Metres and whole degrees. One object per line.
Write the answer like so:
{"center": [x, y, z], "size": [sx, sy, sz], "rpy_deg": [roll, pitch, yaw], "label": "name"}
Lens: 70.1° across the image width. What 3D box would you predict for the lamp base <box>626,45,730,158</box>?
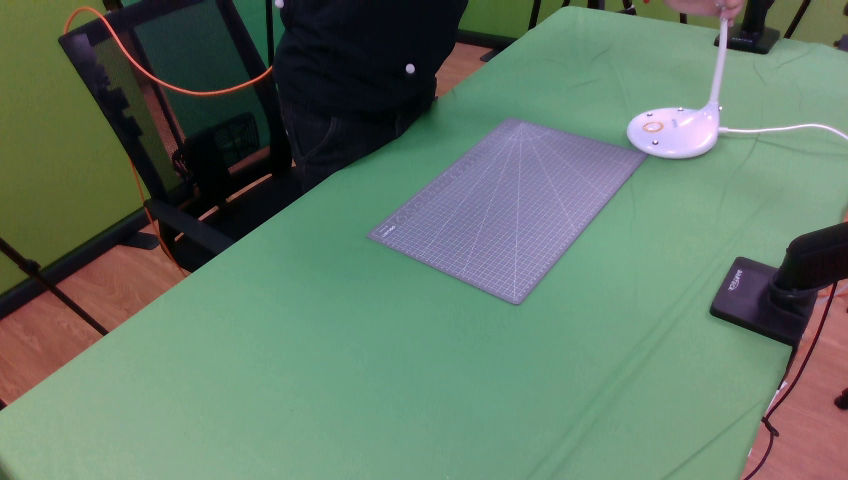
{"center": [0.468, -0.262, 1.085], "size": [0.179, 0.181, 0.159], "rpy_deg": [-4, 41, -1], "label": "lamp base"}
